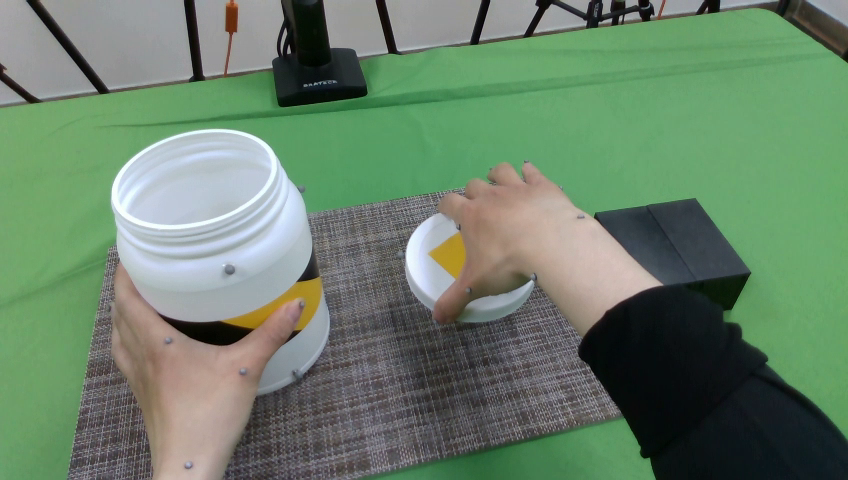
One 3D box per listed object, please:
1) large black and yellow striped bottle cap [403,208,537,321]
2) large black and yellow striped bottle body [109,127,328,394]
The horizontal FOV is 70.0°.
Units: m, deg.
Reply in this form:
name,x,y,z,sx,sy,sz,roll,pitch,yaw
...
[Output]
name,x,y,z,sx,sy,sz,roll,pitch,yaw
large black and yellow striped bottle cap,0.040,0.018,0.526,0.115,0.019,0.114,0,49,0
large black and yellow striped bottle body,-0.151,0.019,0.469,0.131,0.186,0.129,-1,45,1
